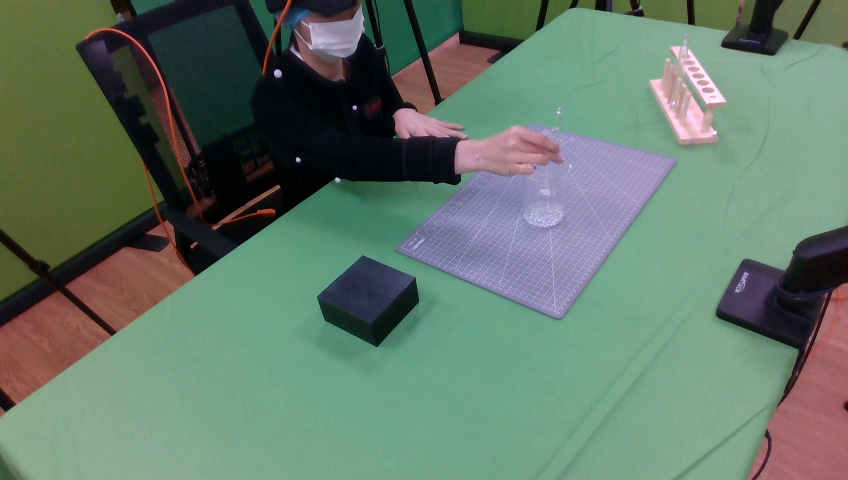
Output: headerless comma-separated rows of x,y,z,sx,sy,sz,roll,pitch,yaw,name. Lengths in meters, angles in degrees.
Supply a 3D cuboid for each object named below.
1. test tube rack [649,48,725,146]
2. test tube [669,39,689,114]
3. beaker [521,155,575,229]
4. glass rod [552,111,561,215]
0.508,-0.285,1.186,0.067,0.085,0.241,-4,40,6,test tube rack
0.482,-0.308,1.146,0.017,0.151,0.017,-5,42,5,test tube
0.197,-0.075,0.969,0.084,0.101,0.073,-6,40,2,beaker
0.203,-0.112,0.927,0.008,0.200,0.008,-4,45,5,glass rod
